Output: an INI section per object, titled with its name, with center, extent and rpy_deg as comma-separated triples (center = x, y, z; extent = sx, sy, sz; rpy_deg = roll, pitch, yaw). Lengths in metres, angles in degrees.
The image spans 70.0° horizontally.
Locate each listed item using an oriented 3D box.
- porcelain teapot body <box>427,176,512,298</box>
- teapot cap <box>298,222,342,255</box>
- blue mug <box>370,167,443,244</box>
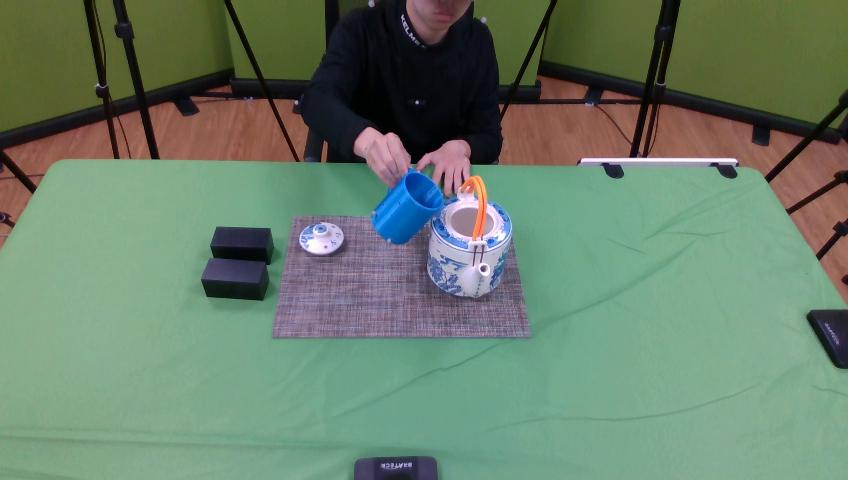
[porcelain teapot body]
center = 0.085, 0.010, 1.051
extent = 0.145, 0.226, 0.204
rpy_deg = -5, 47, -8
[teapot cap]
center = -0.201, -0.008, 1.171
extent = 0.085, 0.044, 0.084
rpy_deg = 1, 47, -1
[blue mug]
center = -0.035, -0.068, 1.038
extent = 0.083, 0.106, 0.116
rpy_deg = 11, 50, -37
